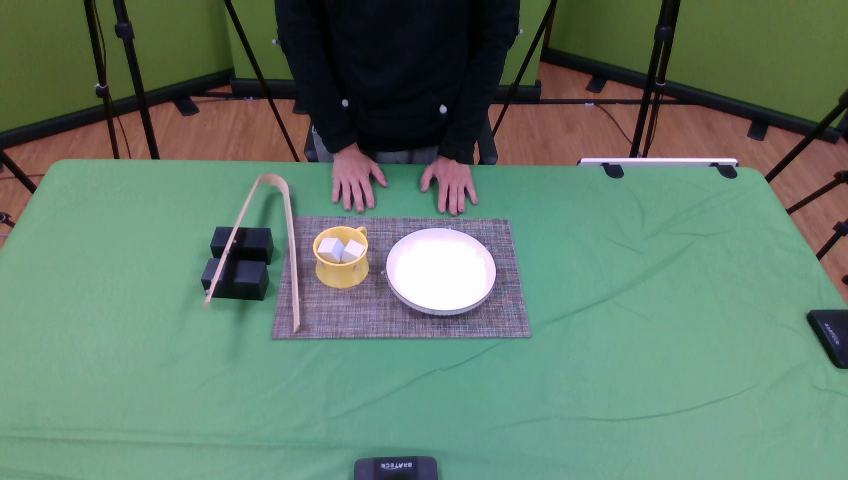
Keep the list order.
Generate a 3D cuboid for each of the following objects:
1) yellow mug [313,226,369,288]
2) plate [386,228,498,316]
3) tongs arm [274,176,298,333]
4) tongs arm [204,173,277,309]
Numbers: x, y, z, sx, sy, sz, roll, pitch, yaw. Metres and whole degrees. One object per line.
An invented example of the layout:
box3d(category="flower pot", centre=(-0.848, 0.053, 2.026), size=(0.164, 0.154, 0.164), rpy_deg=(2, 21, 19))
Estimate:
box3d(category="yellow mug", centre=(-0.146, 0.021, 1.132), size=(0.099, 0.064, 0.130), rpy_deg=(24, 49, 19))
box3d(category="plate", centre=(0.032, 0.062, 1.126), size=(0.208, 0.039, 0.206), rpy_deg=(2, 46, -2))
box3d(category="tongs arm", centre=(-0.260, 0.014, 1.154), size=(0.028, 0.028, 0.385), rpy_deg=(9, 43, -26))
box3d(category="tongs arm", centre=(-0.331, -0.012, 1.122), size=(0.051, 0.026, 0.382), rpy_deg=(21, 37, -18))
